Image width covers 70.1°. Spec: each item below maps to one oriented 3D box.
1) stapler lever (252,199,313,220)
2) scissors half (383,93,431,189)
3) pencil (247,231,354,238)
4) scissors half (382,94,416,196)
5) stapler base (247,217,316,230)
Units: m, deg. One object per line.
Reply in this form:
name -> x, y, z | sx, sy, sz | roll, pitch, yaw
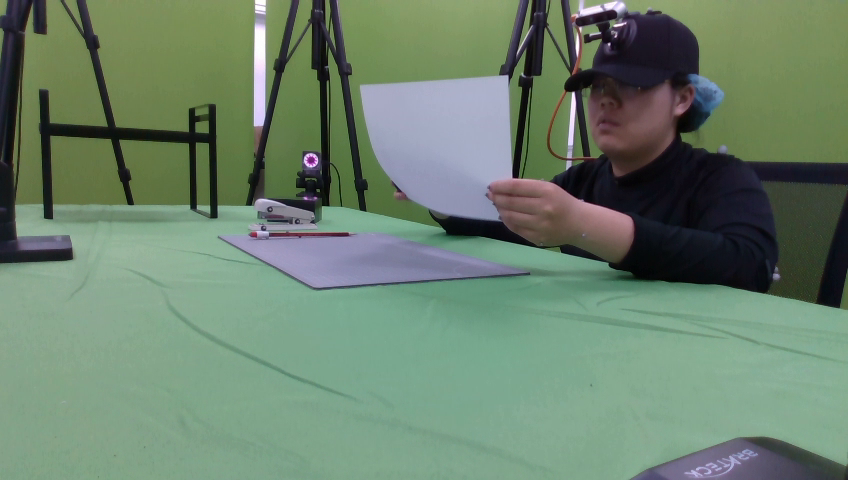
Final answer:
stapler lever -> -0.273, -0.058, 1.170 | 0.119, 0.040, 0.026 | 0, 10, -37
scissors half -> -0.030, -0.164, 1.007 | 0.040, 0.175, 0.012 | -36, 26, -16
pencil -> -0.206, -0.009, 1.039 | 0.195, 0.012, 0.012 | 0, 8, -36
scissors half -> -0.047, -0.155, 1.000 | 0.040, 0.175, 0.013 | -22, 20, -27
stapler base -> -0.276, -0.033, 1.172 | 0.131, 0.024, 0.041 | 0, 10, -37
